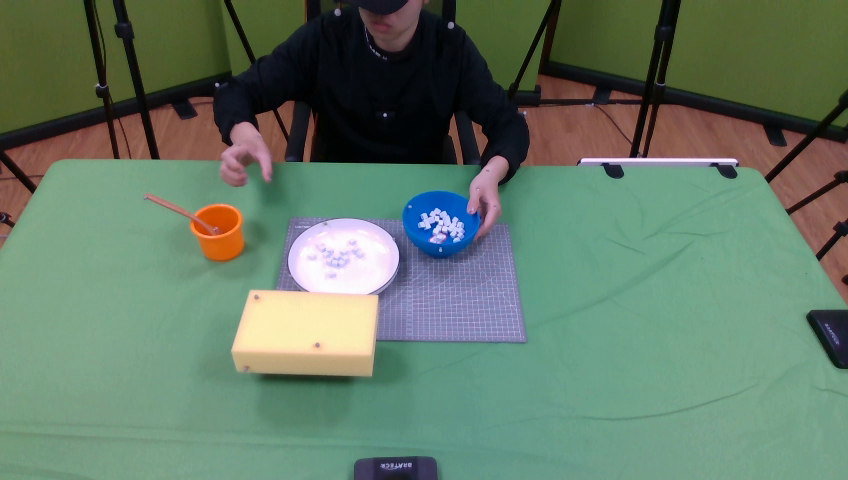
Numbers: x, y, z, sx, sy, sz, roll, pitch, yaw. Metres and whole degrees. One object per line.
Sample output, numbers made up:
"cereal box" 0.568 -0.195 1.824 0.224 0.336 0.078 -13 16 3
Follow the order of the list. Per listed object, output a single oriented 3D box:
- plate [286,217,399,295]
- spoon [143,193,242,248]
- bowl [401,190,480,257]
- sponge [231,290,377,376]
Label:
"plate" -0.150 0.041 1.131 0.209 0.038 0.208 2 45 -2
"spoon" -0.421 -0.037 1.113 0.021 0.195 0.041 -36 37 23
"bowl" 0.029 -0.019 1.175 0.151 0.077 0.150 3 46 -2
"sponge" -0.180 0.144 0.949 0.207 0.061 0.117 2 46 -2
